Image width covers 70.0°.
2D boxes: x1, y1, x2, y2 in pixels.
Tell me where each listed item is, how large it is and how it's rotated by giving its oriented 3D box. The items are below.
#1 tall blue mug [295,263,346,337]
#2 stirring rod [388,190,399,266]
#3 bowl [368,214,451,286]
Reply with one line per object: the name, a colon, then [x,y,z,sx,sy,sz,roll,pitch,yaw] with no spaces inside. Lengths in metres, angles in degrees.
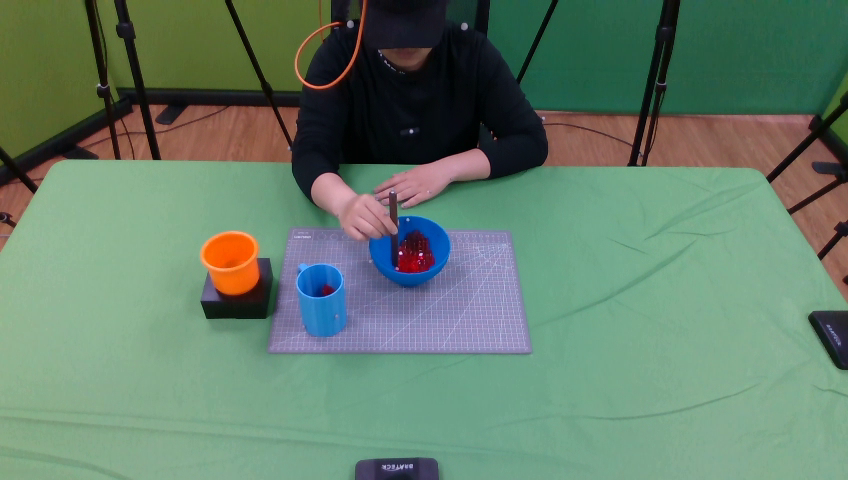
tall blue mug: [-0.187,0.096,1.027,0.107,0.108,0.077,21,49,16]
stirring rod: [-0.052,-0.017,1.042,0.014,0.177,0.006,16,47,15]
bowl: [-0.027,0.031,1.122,0.151,0.077,0.150,2,46,-2]
